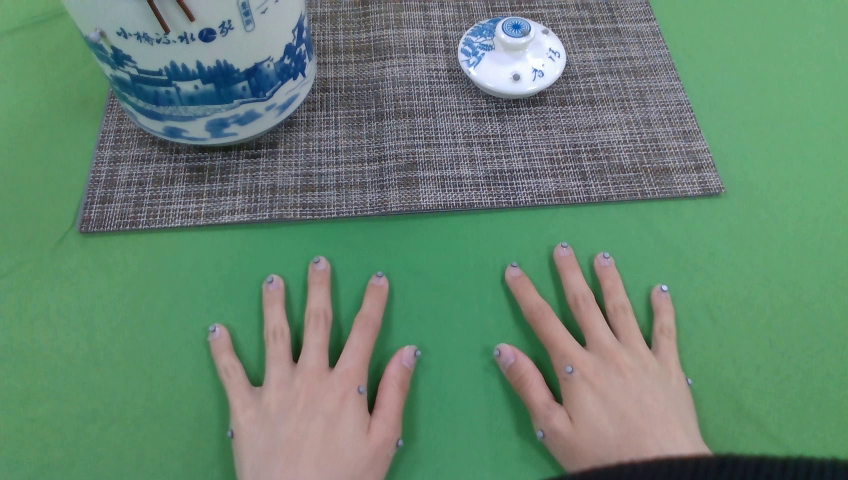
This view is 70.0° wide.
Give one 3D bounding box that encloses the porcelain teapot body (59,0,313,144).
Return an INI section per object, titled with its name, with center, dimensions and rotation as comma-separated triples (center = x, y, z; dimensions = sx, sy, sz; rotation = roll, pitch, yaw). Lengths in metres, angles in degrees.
[porcelain teapot body]
center = -0.159, -0.199, 0.388
dimensions = 0.145, 0.227, 0.203
rotation = -9, 60, -7

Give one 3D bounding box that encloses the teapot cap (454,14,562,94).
[teapot cap]
center = 0.066, -0.151, 0.473
dimensions = 0.085, 0.044, 0.084
rotation = -1, 59, 2
